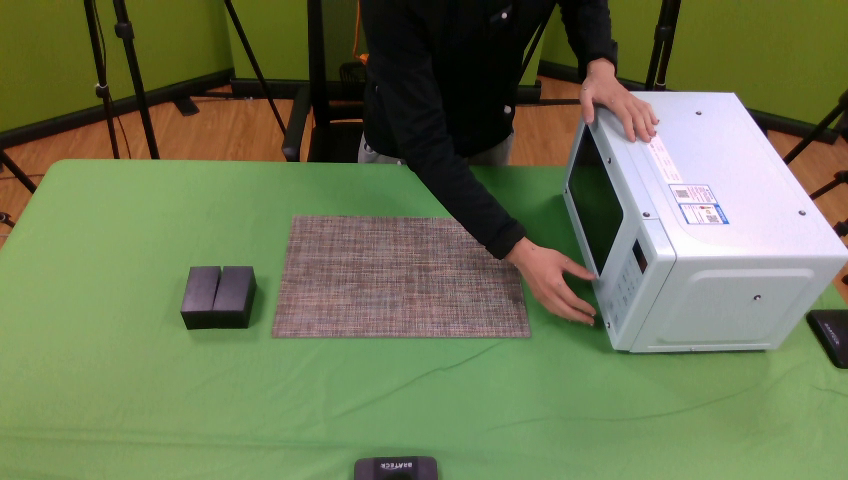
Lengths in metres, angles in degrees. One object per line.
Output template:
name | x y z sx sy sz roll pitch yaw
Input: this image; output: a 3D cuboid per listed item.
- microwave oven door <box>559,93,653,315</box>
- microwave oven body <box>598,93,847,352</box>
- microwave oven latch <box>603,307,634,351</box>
microwave oven door | 0.327 -0.074 1.123 0.039 0.245 0.353 -1 46 -5
microwave oven body | 0.475 -0.042 1.109 0.326 0.261 0.438 -1 45 -4
microwave oven latch | 0.332 0.153 1.044 0.030 0.029 0.078 0 45 -3
